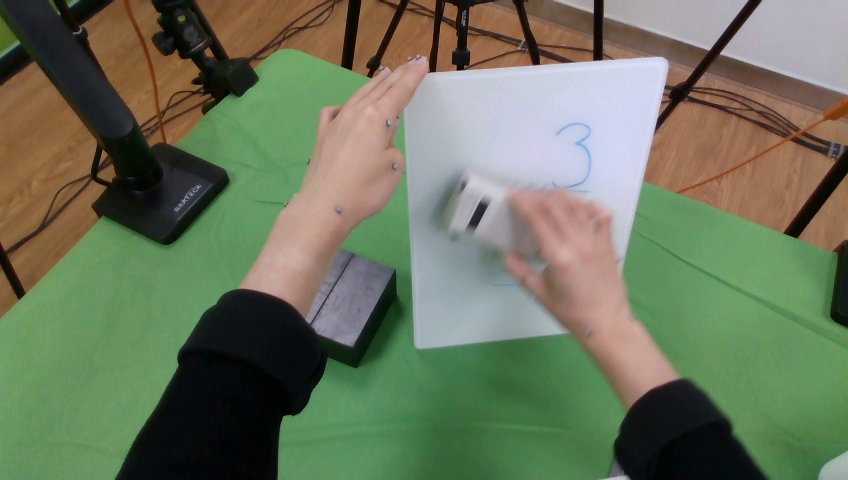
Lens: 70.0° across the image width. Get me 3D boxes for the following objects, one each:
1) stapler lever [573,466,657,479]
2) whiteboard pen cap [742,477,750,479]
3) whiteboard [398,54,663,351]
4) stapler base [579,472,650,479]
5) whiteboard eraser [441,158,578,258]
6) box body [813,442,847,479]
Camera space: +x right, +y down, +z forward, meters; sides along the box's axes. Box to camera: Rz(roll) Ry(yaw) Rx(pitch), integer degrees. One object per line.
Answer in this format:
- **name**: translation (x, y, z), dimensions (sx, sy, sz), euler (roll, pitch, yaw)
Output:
- **stapler lever**: translation (0.148, 0.223, 0.534), dimensions (0.118, 0.040, 0.026), euler (-7, 52, -3)
- **whiteboard pen cap**: translation (0.305, 0.239, 0.562), dimensions (0.018, 0.018, 0.033), euler (-27, 60, -19)
- **whiteboard**: translation (0.082, -0.055, 0.618), dimensions (0.217, 0.308, 0.142), euler (-5, 37, -5)
- **stapler base**: translation (0.150, 0.237, 0.554), dimensions (0.131, 0.024, 0.041), euler (-7, 52, -3)
- **whiteboard eraser**: translation (0.075, -0.027, 0.529), dimensions (0.113, 0.056, 0.041), euler (19, 24, -23)
- **box body**: translation (0.531, 0.280, 0.458), dimensions (0.254, 0.162, 0.360), euler (-16, 58, -13)
